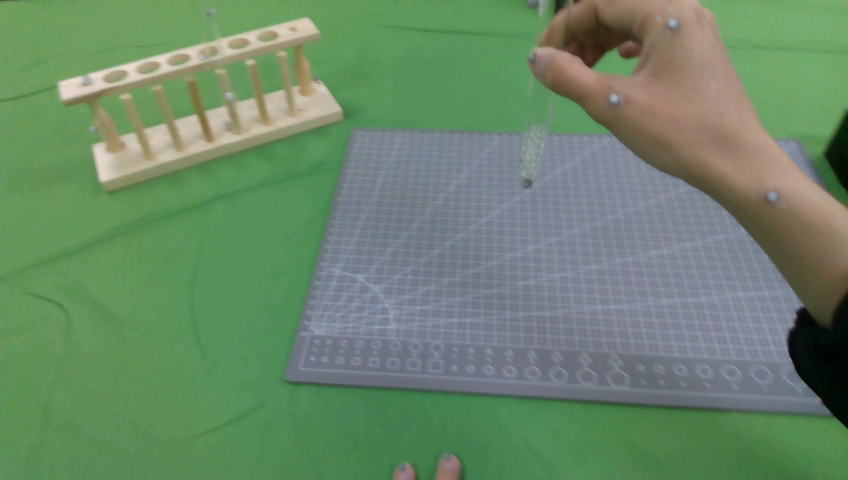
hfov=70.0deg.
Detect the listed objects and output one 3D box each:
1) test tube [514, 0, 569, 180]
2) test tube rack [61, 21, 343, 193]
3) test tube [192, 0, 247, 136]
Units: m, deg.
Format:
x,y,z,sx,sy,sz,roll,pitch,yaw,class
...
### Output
x,y,z,sx,sy,sz,roll,pitch,yaw,class
0.063,-0.091,0.325,0.017,0.151,0.017,0,47,0,test tube
-0.210,-0.136,0.601,0.243,0.086,0.066,-21,50,-17,test tube rack
-0.189,-0.160,0.563,0.017,0.152,0.017,0,47,1,test tube
